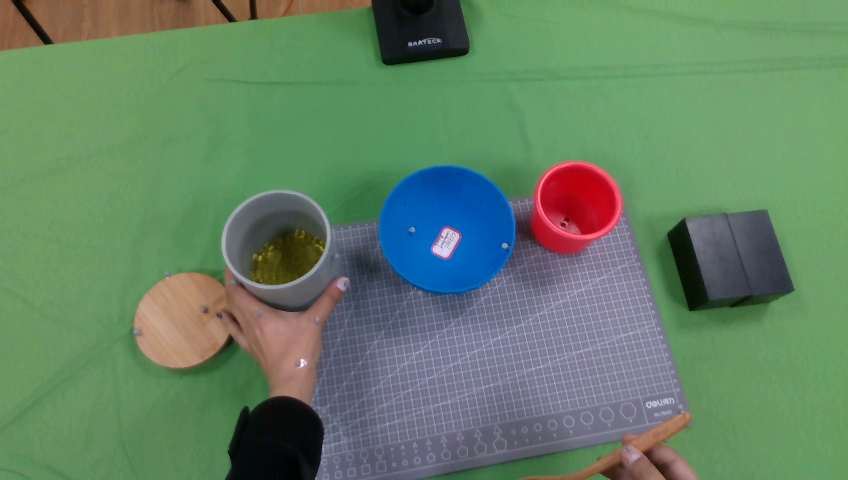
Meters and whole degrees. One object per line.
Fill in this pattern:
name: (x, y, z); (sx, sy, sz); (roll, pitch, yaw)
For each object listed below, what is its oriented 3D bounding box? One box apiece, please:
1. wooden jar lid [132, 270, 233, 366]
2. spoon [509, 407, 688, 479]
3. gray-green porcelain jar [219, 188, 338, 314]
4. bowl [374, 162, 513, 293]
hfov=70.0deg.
wooden jar lid: (-0.268, 0.088, 0.678); (0.108, 0.021, 0.107); (1, 70, -1)
spoon: (0.144, 0.198, 0.529); (0.194, 0.022, 0.041); (-38, 74, 23)
gray-green porcelain jar: (-0.148, 0.018, 0.647); (0.106, 0.127, 0.105); (1, 70, -2)
bowl: (0.021, -0.004, 0.688); (0.151, 0.077, 0.150); (1, 70, -2)
